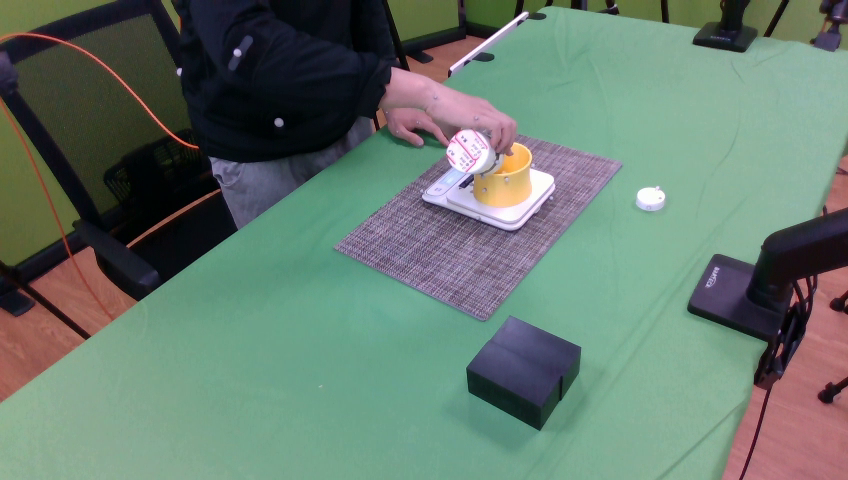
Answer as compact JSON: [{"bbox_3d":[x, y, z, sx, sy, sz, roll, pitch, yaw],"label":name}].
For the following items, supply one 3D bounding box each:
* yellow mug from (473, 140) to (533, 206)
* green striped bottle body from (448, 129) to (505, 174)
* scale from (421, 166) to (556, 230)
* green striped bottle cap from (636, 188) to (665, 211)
[{"bbox_3d":[0.125,-0.121,1.004,0.100,0.064,0.130,-13,40,-5],"label":"yellow mug"},{"bbox_3d":[0.083,-0.130,0.902,0.063,0.063,0.120,10,8,20],"label":"green striped bottle body"},{"bbox_3d":[0.110,-0.089,1.042,0.199,0.032,0.149,23,49,31],"label":"scale"},{"bbox_3d":[0.374,-0.067,0.998,0.044,0.020,0.044,-6,39,5],"label":"green striped bottle cap"}]
